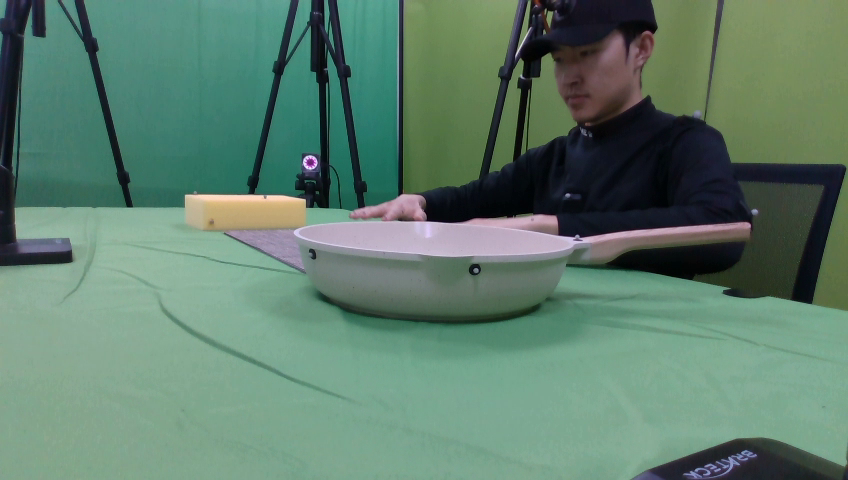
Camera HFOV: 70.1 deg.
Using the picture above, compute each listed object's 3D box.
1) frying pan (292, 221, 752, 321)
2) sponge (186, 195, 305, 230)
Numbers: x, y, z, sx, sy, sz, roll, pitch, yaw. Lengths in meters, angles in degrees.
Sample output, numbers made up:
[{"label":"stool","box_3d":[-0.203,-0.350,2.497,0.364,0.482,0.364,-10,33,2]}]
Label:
[{"label":"frying pan","box_3d":[0.112,0.012,0.644,0.488,0.102,0.306,-6,8,-2]},{"label":"sponge","box_3d":[-0.358,-0.057,1.219,0.208,0.061,0.117,-3,8,-37]}]
